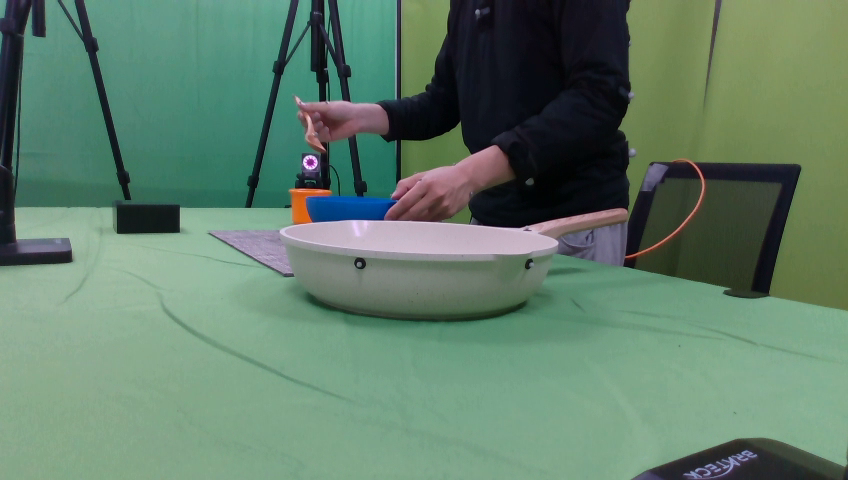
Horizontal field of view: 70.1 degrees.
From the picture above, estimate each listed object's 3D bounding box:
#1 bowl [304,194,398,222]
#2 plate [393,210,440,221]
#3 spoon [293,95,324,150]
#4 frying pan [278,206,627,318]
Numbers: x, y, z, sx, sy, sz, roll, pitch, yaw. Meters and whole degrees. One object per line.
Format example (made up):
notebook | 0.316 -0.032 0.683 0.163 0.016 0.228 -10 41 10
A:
bowl | -0.118 -0.030 0.973 0.151 0.077 0.151 3 7 0
plate | -0.073 -0.035 1.196 0.208 0.039 0.207 4 6 0
spoon | -0.224 -0.227 1.153 0.042 0.021 0.193 22 32 -39
frying pan | 0.079 0.002 0.705 0.490 0.102 0.305 -13 15 -33
